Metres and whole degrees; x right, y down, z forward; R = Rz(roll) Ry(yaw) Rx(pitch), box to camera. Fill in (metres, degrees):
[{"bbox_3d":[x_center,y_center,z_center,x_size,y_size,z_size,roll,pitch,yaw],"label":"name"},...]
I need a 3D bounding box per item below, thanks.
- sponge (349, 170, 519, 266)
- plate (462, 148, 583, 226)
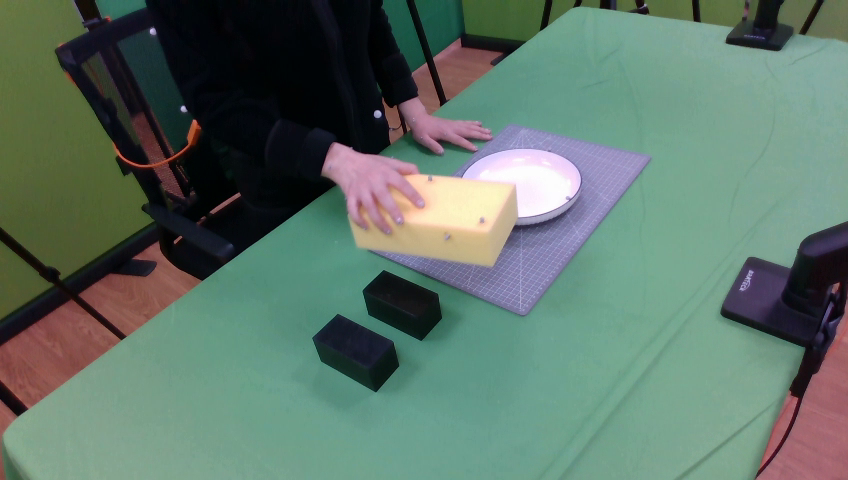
[{"bbox_3d":[0.017,-0.035,0.849,0.206,0.061,0.118,7,41,22],"label":"sponge"},{"bbox_3d":[0.166,-0.089,1.043,0.209,0.038,0.208,-5,40,5],"label":"plate"}]
